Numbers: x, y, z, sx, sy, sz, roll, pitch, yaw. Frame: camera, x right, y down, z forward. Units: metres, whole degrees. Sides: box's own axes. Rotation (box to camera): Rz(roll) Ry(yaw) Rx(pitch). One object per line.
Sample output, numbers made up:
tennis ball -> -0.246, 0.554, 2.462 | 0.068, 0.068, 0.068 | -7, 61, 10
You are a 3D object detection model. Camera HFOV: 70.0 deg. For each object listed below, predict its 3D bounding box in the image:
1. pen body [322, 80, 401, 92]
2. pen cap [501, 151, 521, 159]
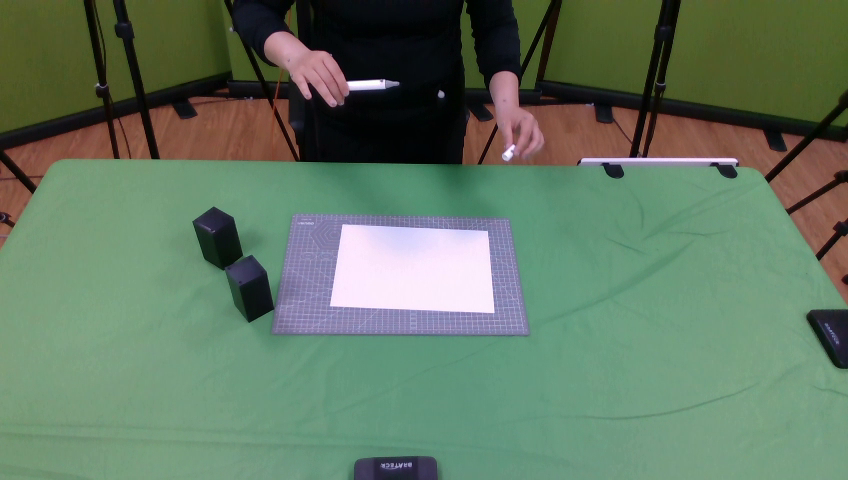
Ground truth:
pen body -> -0.113, -0.278, 1.094 | 0.144, 0.017, 0.017 | -1, 45, 9
pen cap -> 0.168, -0.164, 1.170 | 0.038, 0.017, 0.017 | -3, 45, -22
